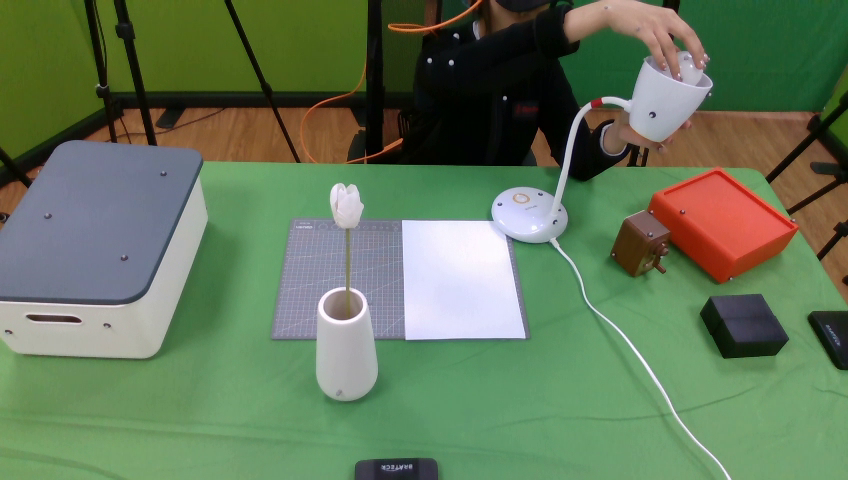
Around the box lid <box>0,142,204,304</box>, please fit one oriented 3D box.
[{"bbox_3d":[-0.534,-0.044,0.995,0.263,0.015,0.369,3,45,-3],"label":"box lid"}]

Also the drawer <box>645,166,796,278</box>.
[{"bbox_3d":[0.600,-0.041,1.236,0.195,0.073,0.210,-21,51,-23],"label":"drawer"}]

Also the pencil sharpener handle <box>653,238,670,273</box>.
[{"bbox_3d":[0.444,0.030,1.120,0.036,0.068,0.030,-25,52,-18],"label":"pencil sharpener handle"}]

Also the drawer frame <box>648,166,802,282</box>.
[{"bbox_3d":[0.603,-0.040,1.234,0.202,0.083,0.212,-21,51,-23],"label":"drawer frame"}]

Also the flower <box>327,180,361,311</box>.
[{"bbox_3d":[-0.110,0.086,0.867,0.044,0.363,0.038,22,33,35],"label":"flower"}]

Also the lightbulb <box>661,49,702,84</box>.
[{"bbox_3d":[0.394,-0.249,0.960,0.059,0.108,0.059,15,37,-12],"label":"lightbulb"}]

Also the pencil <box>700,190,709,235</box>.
[{"bbox_3d":[0.583,-0.058,1.257,0.012,0.012,0.193,16,35,12],"label":"pencil"}]

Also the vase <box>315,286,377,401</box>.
[{"bbox_3d":[-0.119,0.159,0.911,0.098,0.201,0.097,3,47,-2],"label":"vase"}]

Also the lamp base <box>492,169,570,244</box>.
[{"bbox_3d":[0.234,-0.101,1.199,0.161,0.181,0.178,-24,56,-25],"label":"lamp base"}]

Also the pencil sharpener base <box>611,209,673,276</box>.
[{"bbox_3d":[0.416,0.007,1.158,0.061,0.107,0.076,-21,51,-22],"label":"pencil sharpener base"}]

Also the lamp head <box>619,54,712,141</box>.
[{"bbox_3d":[0.379,-0.225,0.977,0.112,0.123,0.111,14,39,-12],"label":"lamp head"}]

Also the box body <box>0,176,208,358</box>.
[{"bbox_3d":[-0.546,0.017,1.045,0.254,0.161,0.361,2,46,-2],"label":"box body"}]
